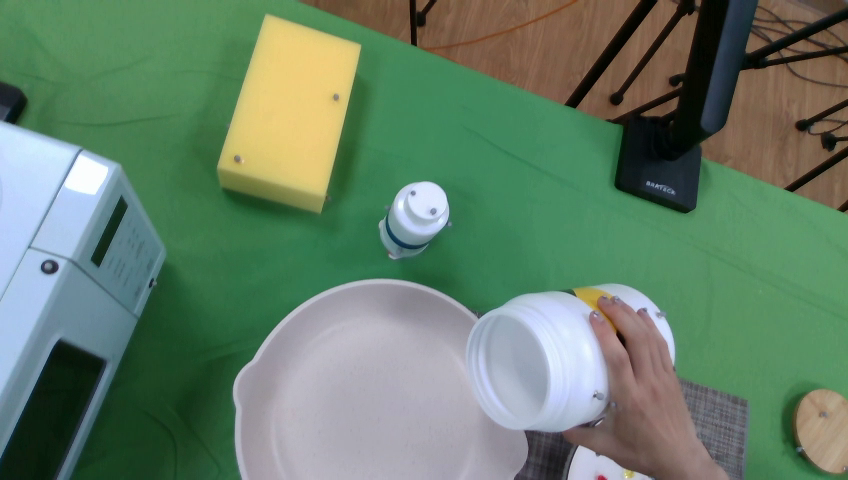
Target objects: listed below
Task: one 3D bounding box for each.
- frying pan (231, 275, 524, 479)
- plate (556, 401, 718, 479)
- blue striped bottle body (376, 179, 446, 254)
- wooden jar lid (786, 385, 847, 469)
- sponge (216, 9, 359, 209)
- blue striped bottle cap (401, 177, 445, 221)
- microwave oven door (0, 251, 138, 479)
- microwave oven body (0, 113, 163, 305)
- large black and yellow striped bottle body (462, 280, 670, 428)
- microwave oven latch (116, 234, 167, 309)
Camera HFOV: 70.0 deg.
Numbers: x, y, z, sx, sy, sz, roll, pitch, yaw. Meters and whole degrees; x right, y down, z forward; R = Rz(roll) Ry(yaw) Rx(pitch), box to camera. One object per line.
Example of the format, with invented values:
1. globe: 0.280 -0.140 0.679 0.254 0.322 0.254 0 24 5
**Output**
1. frying pan: -0.069 0.275 0.593 0.307 0.103 0.484 18 62 -7
2. plate: 0.246 0.296 0.707 0.210 0.038 0.208 4 73 -14
3. blue striped bottle body: -0.014 -0.028 0.689 0.063 0.121 0.062 4 74 -14
4. wooden jar lid: 0.531 0.249 0.811 0.109 0.021 0.108 4 75 -13
5. sponge: -0.158 -0.154 0.717 0.118 0.061 0.205 14 72 -11
6. blue striped bottle cap: -0.001 -0.044 0.642 0.045 0.020 0.044 4 75 -14
7. microwave oven door: -0.327 0.198 0.455 0.039 0.244 0.354 19 70 -8
8. microwave oven body: -0.454 0.114 0.450 0.327 0.260 0.439 19 71 -9
9. large black and yellow striped bottle body: 0.141 0.111 0.603 0.185 0.130 0.130 -3 73 -39
10. microwave oven latch: -0.292 0.029 0.622 0.030 0.029 0.079 22 71 -8
